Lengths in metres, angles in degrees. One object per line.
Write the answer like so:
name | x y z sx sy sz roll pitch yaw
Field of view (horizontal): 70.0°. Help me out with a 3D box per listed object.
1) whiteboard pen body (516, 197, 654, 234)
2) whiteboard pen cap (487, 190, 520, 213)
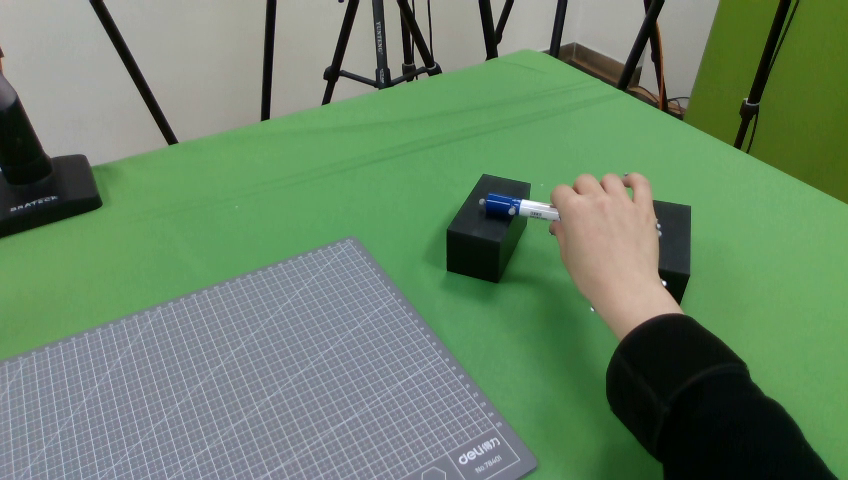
whiteboard pen body | 0.130 -0.024 0.535 0.140 0.017 0.017 11 40 14
whiteboard pen cap | 0.075 -0.034 0.551 0.033 0.018 0.018 14 41 14
